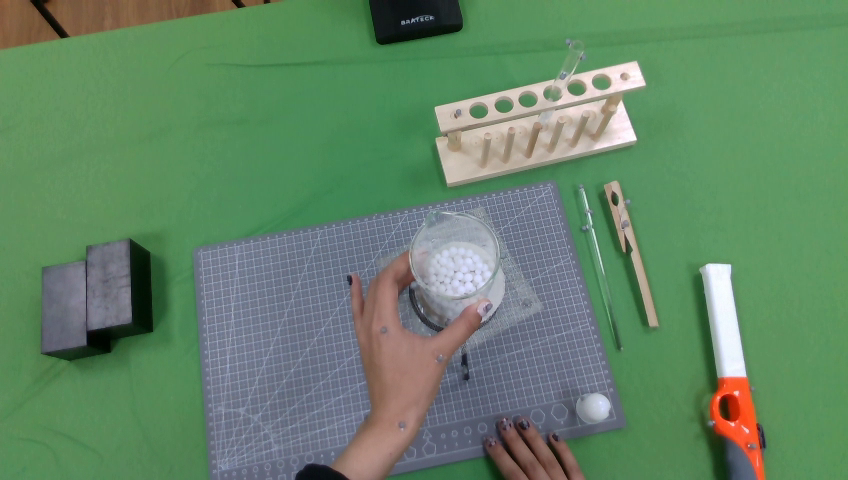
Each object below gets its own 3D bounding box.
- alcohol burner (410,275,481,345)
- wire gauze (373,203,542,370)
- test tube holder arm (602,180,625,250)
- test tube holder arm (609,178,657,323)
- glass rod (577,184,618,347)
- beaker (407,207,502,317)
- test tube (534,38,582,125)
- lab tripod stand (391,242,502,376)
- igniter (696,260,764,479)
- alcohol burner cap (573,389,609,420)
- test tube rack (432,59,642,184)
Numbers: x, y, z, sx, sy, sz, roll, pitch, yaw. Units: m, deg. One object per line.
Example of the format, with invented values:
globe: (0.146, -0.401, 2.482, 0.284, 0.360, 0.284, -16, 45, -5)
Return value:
alcohol burner: (0.022, 0.070, 0.645, 0.078, 0.120, 0.077, -1, 70, 3)
wire gauze: (0.030, 0.040, 0.575, 0.121, 0.011, 0.124, -27, 74, -4)
test tube holder arm: (0.231, -0.030, 0.727, 0.010, 0.015, 0.087, -21, 70, 30)
test tube holder arm: (0.244, 0.010, 0.711, 0.013, 0.015, 0.177, -22, 70, 29)
glass rod: (0.204, 0.027, 0.713, 0.008, 0.008, 0.198, -8, 74, -1)
beaker: (0.025, 0.023, 0.530, 0.074, 0.101, 0.083, -26, 72, -4)
test tube: (0.149, -0.175, 0.689, 0.017, 0.151, 0.017, 1, 69, -4)
lab tripod stand: (0.027, 0.064, 0.637, 0.148, 0.132, 0.147, -1, 72, 3)
igniter: (0.330, 0.156, 0.657, 0.057, 0.025, 0.274, 3, 72, -8)
alcohol burner cap: (0.180, 0.173, 0.645, 0.034, 0.048, 0.033, -1, 71, 2)
test tube rack: (0.135, -0.140, 0.730, 0.242, 0.086, 0.066, -13, 71, -3)
